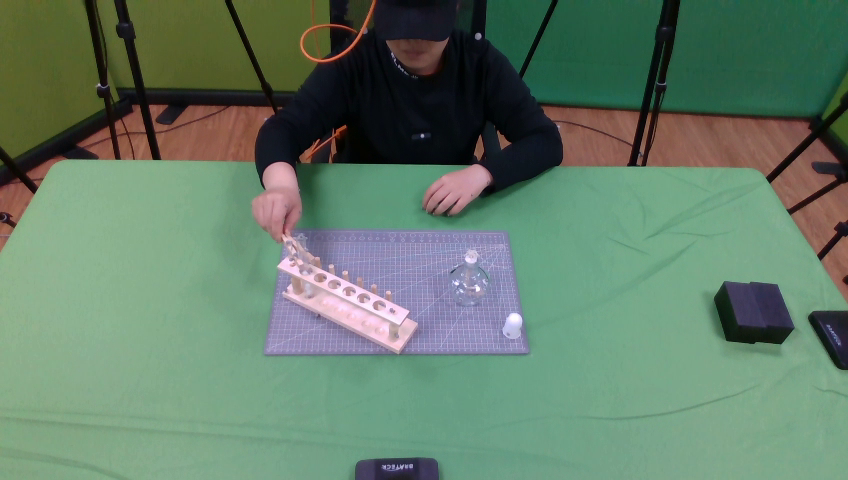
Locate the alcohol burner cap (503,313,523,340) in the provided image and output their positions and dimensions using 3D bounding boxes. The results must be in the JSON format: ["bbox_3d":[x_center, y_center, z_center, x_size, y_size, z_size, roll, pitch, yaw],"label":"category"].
[{"bbox_3d":[0.156,0.148,1.051,0.034,0.048,0.033,1,45,-1],"label":"alcohol burner cap"}]

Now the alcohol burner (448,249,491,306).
[{"bbox_3d":[0.081,0.062,1.078,0.078,0.120,0.077,1,45,-1],"label":"alcohol burner"}]

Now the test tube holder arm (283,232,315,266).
[{"bbox_3d":[-0.215,0.014,1.022,0.087,0.015,0.010,35,49,29],"label":"test tube holder arm"}]

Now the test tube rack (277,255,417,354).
[{"bbox_3d":[-0.131,0.099,1.045,0.241,0.085,0.066,23,49,17],"label":"test tube rack"}]

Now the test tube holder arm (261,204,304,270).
[{"bbox_3d":[-0.246,-0.008,1.045,0.013,0.015,0.177,-20,47,-28],"label":"test tube holder arm"}]

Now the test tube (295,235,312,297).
[{"bbox_3d":[-0.203,0.047,1.021,0.017,0.151,0.017,2,47,-2],"label":"test tube"}]
